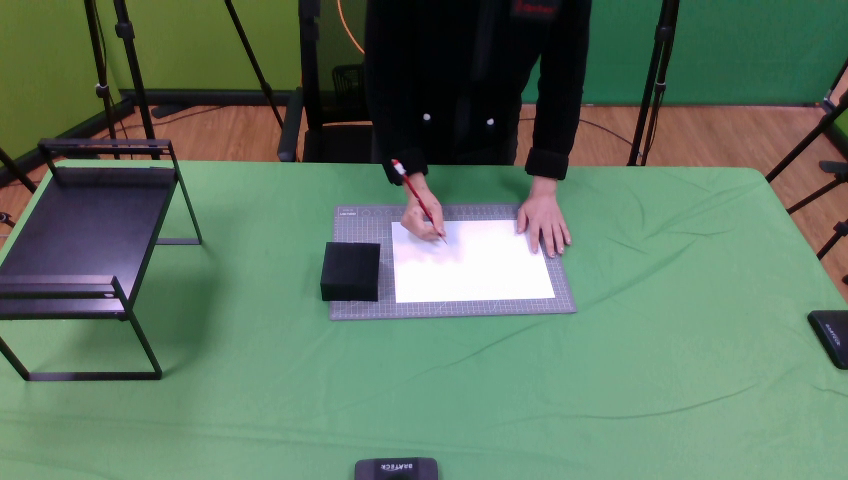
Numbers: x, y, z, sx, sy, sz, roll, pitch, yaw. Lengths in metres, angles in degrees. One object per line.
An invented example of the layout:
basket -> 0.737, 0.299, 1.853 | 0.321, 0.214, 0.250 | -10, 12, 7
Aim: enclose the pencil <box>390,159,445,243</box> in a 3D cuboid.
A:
pencil -> -0.009, -0.072, 1.157 | 0.012, 0.194, 0.012 | -30, 15, 9
